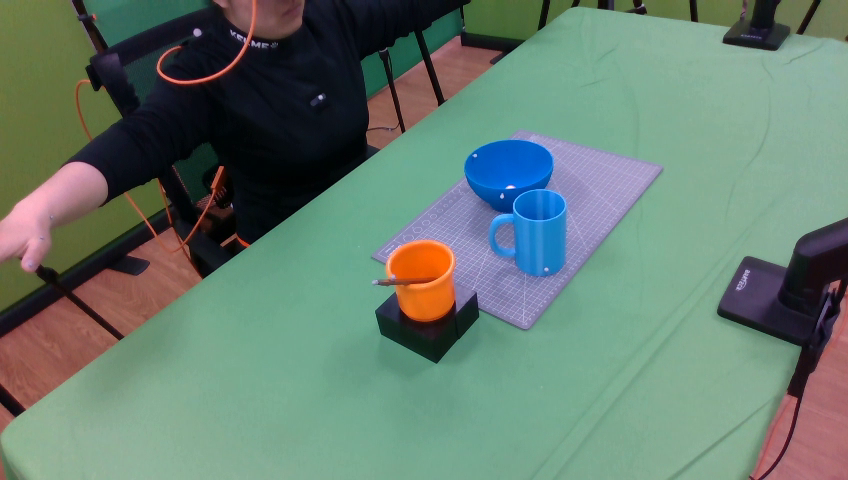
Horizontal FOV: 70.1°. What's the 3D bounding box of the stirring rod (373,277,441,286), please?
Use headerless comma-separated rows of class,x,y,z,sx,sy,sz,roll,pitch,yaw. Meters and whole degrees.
stirring rod,-0.018,0.051,0.757,0.014,0.006,0.177,10,2,24

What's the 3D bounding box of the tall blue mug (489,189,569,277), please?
tall blue mug,0.158,-0.005,0.886,0.107,0.108,0.077,-23,43,-16

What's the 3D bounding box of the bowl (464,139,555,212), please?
bowl,0.145,-0.100,1.025,0.151,0.077,0.150,-5,40,5
